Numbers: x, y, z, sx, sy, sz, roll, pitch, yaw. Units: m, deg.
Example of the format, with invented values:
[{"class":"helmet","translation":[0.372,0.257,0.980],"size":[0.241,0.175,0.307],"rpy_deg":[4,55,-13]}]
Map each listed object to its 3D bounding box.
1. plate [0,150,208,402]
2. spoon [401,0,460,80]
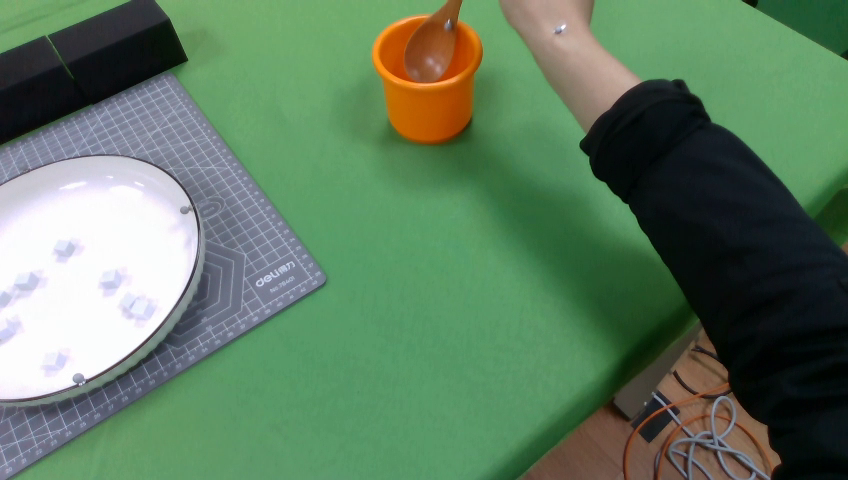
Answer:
[{"class":"plate","translation":[-0.263,0.023,0.452],"size":[0.209,0.038,0.207],"rpy_deg":[0,57,1]},{"class":"spoon","translation":[0.035,-0.208,0.473],"size":[0.042,0.194,0.021],"rpy_deg":[30,41,-7]}]
